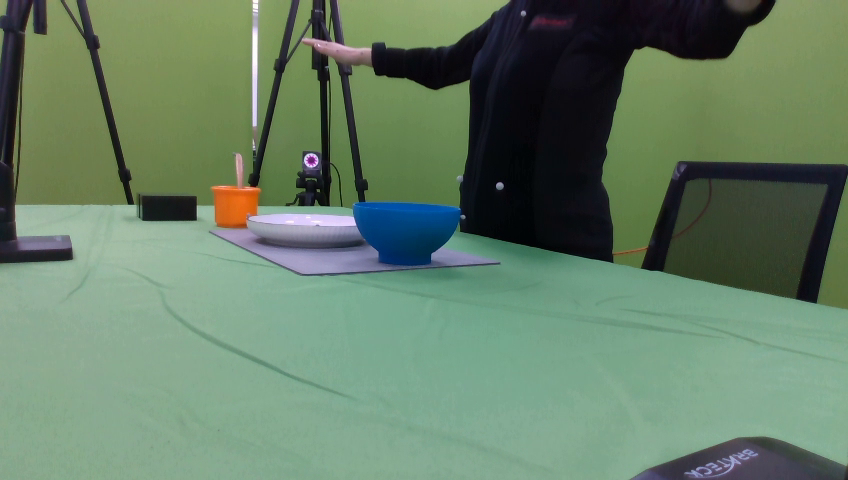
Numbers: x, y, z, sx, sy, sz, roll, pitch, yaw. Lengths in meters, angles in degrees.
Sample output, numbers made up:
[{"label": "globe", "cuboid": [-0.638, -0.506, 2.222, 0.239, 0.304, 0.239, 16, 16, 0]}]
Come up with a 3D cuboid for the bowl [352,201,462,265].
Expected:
[{"label": "bowl", "cuboid": [-0.025, -0.010, 0.831, 0.151, 0.077, 0.151, 3, 7, 0]}]

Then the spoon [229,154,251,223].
[{"label": "spoon", "cuboid": [-0.367, -0.106, 1.208, 0.042, 0.193, 0.021, 2, -37, -20]}]

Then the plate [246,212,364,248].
[{"label": "plate", "cuboid": [-0.185, -0.017, 0.995, 0.209, 0.038, 0.209, 3, 8, 0]}]
